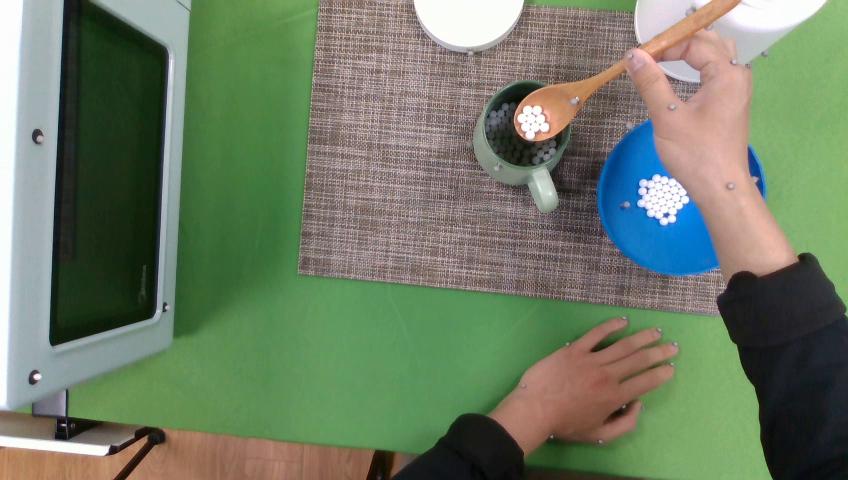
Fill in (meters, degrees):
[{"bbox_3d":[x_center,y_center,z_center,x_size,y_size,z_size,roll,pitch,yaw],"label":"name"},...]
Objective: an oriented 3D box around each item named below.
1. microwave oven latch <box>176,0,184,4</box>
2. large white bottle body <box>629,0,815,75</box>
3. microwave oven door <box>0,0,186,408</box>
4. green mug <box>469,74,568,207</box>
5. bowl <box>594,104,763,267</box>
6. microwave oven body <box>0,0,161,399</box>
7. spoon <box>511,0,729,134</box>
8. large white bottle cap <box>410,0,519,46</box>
[{"bbox_3d":[-0.259,-0.284,0.614,0.030,0.029,0.079,4,93,3],"label":"microwave oven latch"},{"bbox_3d":[0.266,-0.234,0.527,0.130,0.185,0.130,0,88,3],"label":"large white bottle body"},{"bbox_3d":[-0.281,-0.062,0.523,0.039,0.244,0.356,3,92,4],"label":"microwave oven door"},{"bbox_3d":[0.096,-0.092,0.583,0.092,0.105,0.125,-22,91,3],"label":"green mug"},{"bbox_3d":[0.235,-0.050,0.590,0.151,0.077,0.151,0,92,4],"label":"bowl"},{"bbox_3d":[-0.424,-0.114,0.534,0.326,0.260,0.442,4,93,3],"label":"microwave oven body"},{"bbox_3d":[0.145,-0.136,0.465,0.193,0.021,0.042,-26,98,44],"label":"spoon"},{"bbox_3d":[0.042,-0.258,0.621,0.115,0.018,0.115,0,91,3],"label":"large white bottle cap"}]
